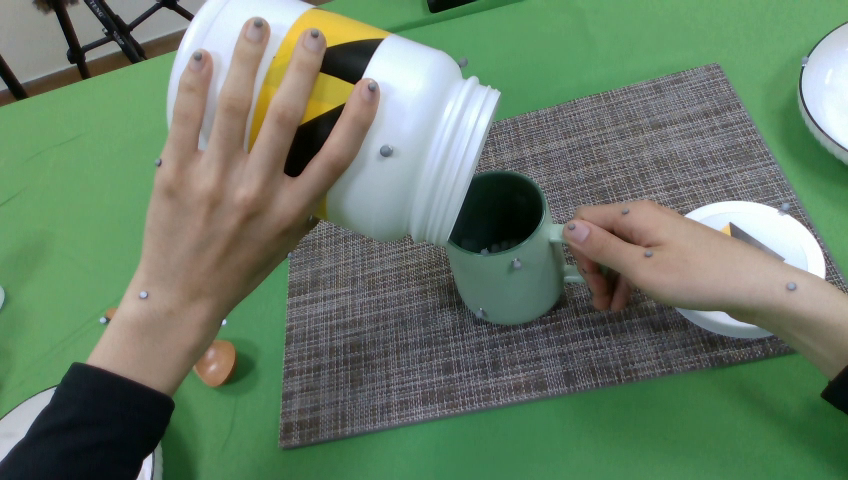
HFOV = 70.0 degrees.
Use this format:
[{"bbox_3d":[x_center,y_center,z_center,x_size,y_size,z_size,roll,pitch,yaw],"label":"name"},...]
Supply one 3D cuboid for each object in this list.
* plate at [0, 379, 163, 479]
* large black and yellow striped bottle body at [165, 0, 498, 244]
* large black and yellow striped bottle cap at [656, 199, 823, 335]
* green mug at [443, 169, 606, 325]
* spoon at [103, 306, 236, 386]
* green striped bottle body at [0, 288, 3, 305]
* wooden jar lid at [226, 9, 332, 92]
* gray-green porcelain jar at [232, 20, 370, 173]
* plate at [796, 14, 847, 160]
[{"bbox_3d":[-0.304,0.217,0.496,0.209,0.038,0.207,-8,54,12],"label":"plate"},{"bbox_3d":[-0.055,-0.078,0.402,0.184,0.131,0.130,20,63,2],"label":"large black and yellow striped bottle body"},{"bbox_3d":[0.240,0.018,0.466,0.115,0.019,0.114,-9,54,13],"label":"large black and yellow striped bottle cap"},{"bbox_3d":[0.077,0.008,0.470,0.125,0.106,0.092,4,58,21],"label":"green mug"},{"bbox_3d":[-0.246,0.091,0.573,0.192,0.022,0.041,16,81,26],"label":"spoon"},{"bbox_3d":[-0.513,0.045,0.630,0.063,0.120,0.062,-9,54,13],"label":"green striped bottle body"},{"bbox_3d":[-0.136,-0.179,0.577,0.108,0.021,0.107,-11,53,15],"label":"wooden jar lid"},{"bbox_3d":[-0.119,-0.141,0.625,0.105,0.128,0.105,-9,50,12],"label":"gray-green porcelain jar"},{"bbox_3d":[0.419,-0.120,0.494,0.207,0.039,0.205,-9,55,13],"label":"plate"}]
